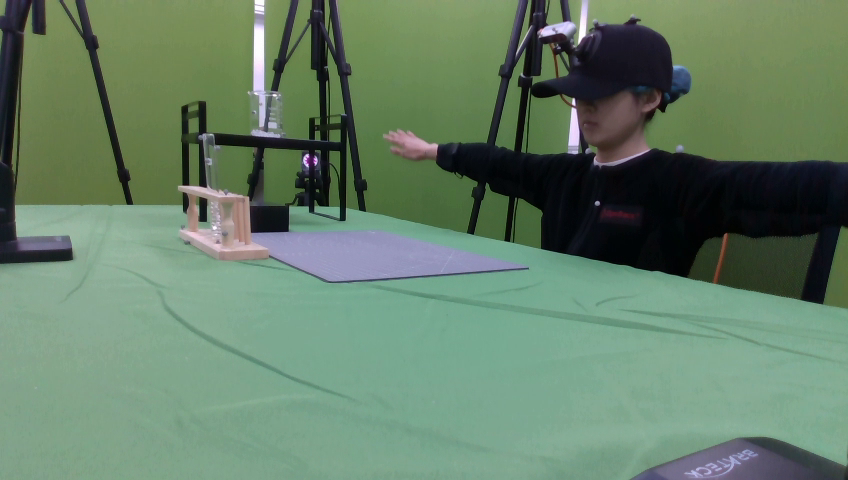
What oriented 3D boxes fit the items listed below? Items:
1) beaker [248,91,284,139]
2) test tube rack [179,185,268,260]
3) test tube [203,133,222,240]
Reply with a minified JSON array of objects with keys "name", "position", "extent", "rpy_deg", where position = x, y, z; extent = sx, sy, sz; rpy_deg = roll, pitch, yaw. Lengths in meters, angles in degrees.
[{"name":"beaker","position":[-0.353,-0.277,1.343],"extent":[0.073,0.100,0.084],"rpy_deg":[8,9,39]},{"name":"test tube rack","position":[-0.303,-0.032,0.898],"extent":[0.067,0.085,0.241],"rpy_deg":[-2,9,-33]},{"name":"test tube","position":[-0.296,-0.075,0.849],"extent":[0.017,0.150,0.017],"rpy_deg":[-2,6,1]}]
